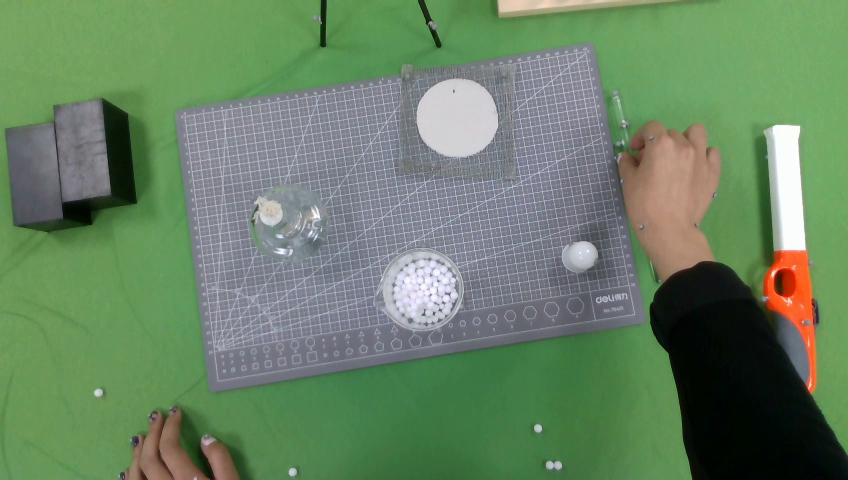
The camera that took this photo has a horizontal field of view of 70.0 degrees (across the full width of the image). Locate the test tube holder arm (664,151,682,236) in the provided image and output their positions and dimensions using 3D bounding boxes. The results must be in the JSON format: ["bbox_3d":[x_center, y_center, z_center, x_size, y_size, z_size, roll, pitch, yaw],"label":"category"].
[{"bbox_3d":[0.259,-0.047,0.623,0.010,0.015,0.087,-10,84,38],"label":"test tube holder arm"}]

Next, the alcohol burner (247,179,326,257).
[{"bbox_3d":[-0.136,-0.024,0.578,0.078,0.119,0.077,0,84,4],"label":"alcohol burner"}]

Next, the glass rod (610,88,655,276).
[{"bbox_3d":[0.217,-0.061,0.629,0.008,0.008,0.199,-11,88,0],"label":"glass rod"}]

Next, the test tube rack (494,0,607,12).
[{"bbox_3d":[0.192,-0.293,0.609,0.242,0.085,0.066,-6,85,1],"label":"test tube rack"}]

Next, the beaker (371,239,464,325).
[{"bbox_3d":[-0.005,0.043,0.577,0.084,0.100,0.074,-17,84,1],"label":"beaker"}]

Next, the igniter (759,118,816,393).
[{"bbox_3d":[0.364,0.014,0.610,0.057,0.025,0.276,0,86,-9],"label":"igniter"}]

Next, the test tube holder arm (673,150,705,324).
[{"bbox_3d":[0.268,-0.004,0.616,0.013,0.015,0.178,-11,84,38],"label":"test tube holder arm"}]

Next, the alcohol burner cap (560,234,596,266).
[{"bbox_3d":[0.156,0.008,0.605,0.034,0.048,0.034,0,85,2],"label":"alcohol burner cap"}]

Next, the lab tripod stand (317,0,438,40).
[{"bbox_3d":[-0.052,-0.255,0.588,0.148,0.131,0.148,0,87,1],"label":"lab tripod stand"}]

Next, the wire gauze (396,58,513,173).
[{"bbox_3d":[0.033,-0.132,0.636,0.125,0.011,0.121,2,87,1],"label":"wire gauze"}]
